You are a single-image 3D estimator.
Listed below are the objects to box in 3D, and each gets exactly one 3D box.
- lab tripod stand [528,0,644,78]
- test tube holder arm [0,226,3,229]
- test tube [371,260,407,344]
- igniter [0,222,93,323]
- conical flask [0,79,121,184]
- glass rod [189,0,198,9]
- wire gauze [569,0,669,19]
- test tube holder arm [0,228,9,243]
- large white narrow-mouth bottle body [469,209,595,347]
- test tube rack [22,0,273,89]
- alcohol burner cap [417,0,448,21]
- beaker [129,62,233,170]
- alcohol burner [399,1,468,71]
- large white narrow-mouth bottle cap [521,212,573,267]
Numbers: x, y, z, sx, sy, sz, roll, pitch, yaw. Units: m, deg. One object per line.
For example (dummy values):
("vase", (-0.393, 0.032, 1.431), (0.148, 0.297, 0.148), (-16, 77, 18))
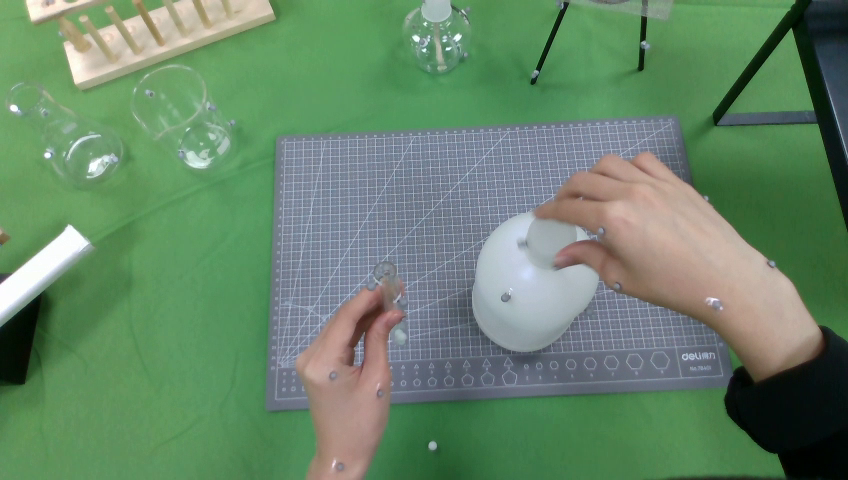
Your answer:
("lab tripod stand", (0.180, -0.250, 0.653), (0.148, 0.132, 0.147), (0, 69, 0))
("test tube holder arm", (-0.473, 0.049, 0.568), (0.013, 0.015, 0.178), (40, 75, 13))
("test tube", (-0.024, 0.051, 0.455), (0.017, 0.151, 0.017), (-1, 64, 2))
("igniter", (-0.426, 0.088, 0.550), (0.057, 0.025, 0.276), (40, 73, 12))
("conical flask", (-0.375, -0.115, 0.621), (0.075, 0.122, 0.075), (0, 70, 1))
("glass rod", (-0.288, -0.323, 0.642), (0.008, 0.201, 0.008), (-3, 64, 7))
("wire gauze", (0.186, -0.275, 0.591), (0.121, 0.011, 0.124), (18, 72, 5))
("test tube holder arm", (-0.439, 0.021, 0.578), (0.010, 0.015, 0.087), (41, 75, 13))
("large white narrow-mouth bottle body", (0.093, 0.029, 0.521), (0.102, 0.196, 0.101), (0, 71, 2))
("test tube rack", (-0.308, -0.265, 0.693), (0.242, 0.086, 0.066), (-23, 71, -7))
("alcohol burner cap", (0.009, -0.256, 0.631), (0.034, 0.048, 0.033), (0, 69, 1))
("beaker", (-0.250, -0.122, 0.634), (0.074, 0.101, 0.083), (12, 71, 6))
("alcohol burner", (0.010, -0.243, 0.665), (0.078, 0.120, 0.077), (0, 68, 0))
("large white narrow-mouth bottle cap", (0.088, 0.000, 0.434), (0.038, 0.024, 0.037), (0, 72, 1))
